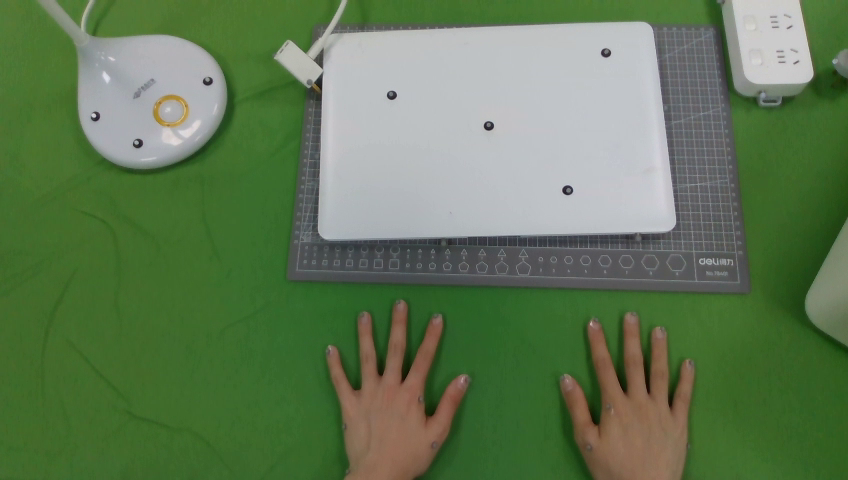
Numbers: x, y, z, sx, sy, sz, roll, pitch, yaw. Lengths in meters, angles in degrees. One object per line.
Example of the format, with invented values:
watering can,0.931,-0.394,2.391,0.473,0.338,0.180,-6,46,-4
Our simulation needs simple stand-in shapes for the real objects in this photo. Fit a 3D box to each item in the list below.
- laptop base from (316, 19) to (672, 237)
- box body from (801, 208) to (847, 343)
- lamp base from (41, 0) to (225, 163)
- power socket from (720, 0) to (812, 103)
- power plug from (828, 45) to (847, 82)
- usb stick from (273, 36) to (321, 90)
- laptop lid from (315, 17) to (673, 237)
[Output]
laptop base,0.067,-0.118,0.633,0.354,0.023,0.234,-1,77,2
box body,0.532,-0.027,0.507,0.253,0.161,0.363,34,78,12
lamp base,-0.311,-0.186,0.588,0.178,0.181,0.160,28,76,14
power socket,0.360,-0.255,0.651,0.072,0.033,0.225,1,73,2
power plug,0.451,-0.191,0.623,0.072,0.053,0.035,-23,69,-21
usb stick,-0.129,-0.186,0.643,0.027,0.060,0.021,-48,32,-2
laptop lid,0.066,-0.119,0.621,0.356,0.013,0.240,0,76,3
